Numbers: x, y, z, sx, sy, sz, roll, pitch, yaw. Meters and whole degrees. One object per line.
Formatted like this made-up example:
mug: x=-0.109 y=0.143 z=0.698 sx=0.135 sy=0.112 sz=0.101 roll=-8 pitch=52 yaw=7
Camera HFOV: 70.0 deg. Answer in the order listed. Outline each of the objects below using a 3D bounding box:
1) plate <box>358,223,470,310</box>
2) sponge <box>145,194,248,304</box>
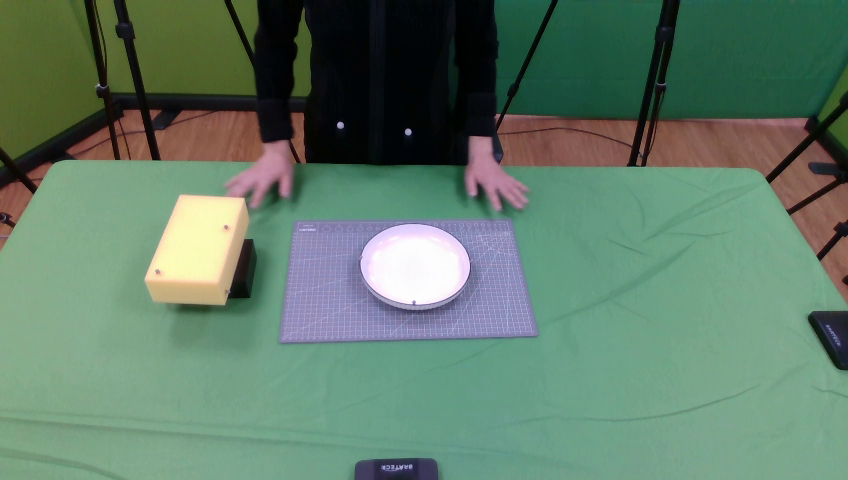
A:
plate: x=-0.019 y=0.052 z=1.132 sx=0.209 sy=0.038 sz=0.208 roll=2 pitch=46 yaw=-2
sponge: x=-0.391 y=0.012 z=1.059 sx=0.118 sy=0.061 sz=0.205 roll=2 pitch=46 yaw=-3
